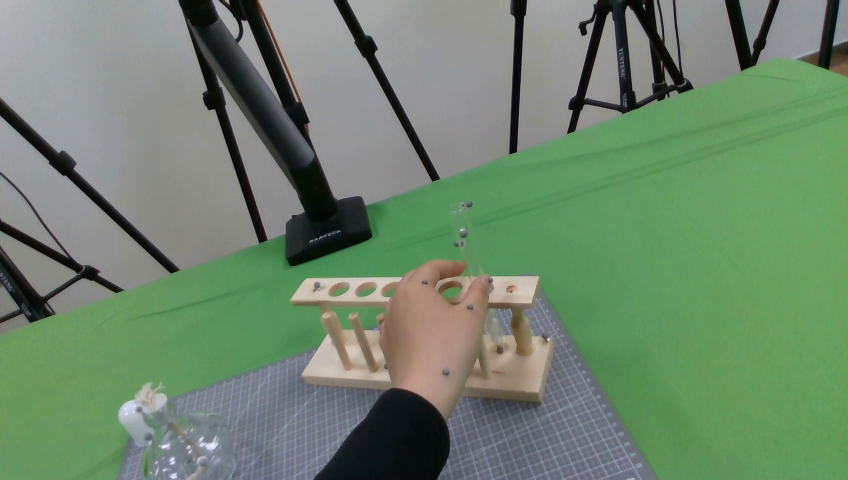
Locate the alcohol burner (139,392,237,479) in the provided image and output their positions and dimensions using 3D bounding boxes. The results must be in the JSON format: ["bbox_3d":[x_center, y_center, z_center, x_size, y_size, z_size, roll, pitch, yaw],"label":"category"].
[{"bbox_3d":[-0.210,0.170,0.517,0.078,0.120,0.077,-12,34,8],"label":"alcohol burner"}]

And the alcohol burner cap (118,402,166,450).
[{"bbox_3d":[-0.284,0.183,0.605,0.034,0.048,0.033,-12,33,9],"label":"alcohol burner cap"}]

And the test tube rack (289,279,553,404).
[{"bbox_3d":[-0.012,0.091,0.562,0.241,0.086,0.066,-2,35,25],"label":"test tube rack"}]

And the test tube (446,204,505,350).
[{"bbox_3d":[0.046,0.037,0.520,0.017,0.151,0.017,-15,29,9],"label":"test tube"}]
